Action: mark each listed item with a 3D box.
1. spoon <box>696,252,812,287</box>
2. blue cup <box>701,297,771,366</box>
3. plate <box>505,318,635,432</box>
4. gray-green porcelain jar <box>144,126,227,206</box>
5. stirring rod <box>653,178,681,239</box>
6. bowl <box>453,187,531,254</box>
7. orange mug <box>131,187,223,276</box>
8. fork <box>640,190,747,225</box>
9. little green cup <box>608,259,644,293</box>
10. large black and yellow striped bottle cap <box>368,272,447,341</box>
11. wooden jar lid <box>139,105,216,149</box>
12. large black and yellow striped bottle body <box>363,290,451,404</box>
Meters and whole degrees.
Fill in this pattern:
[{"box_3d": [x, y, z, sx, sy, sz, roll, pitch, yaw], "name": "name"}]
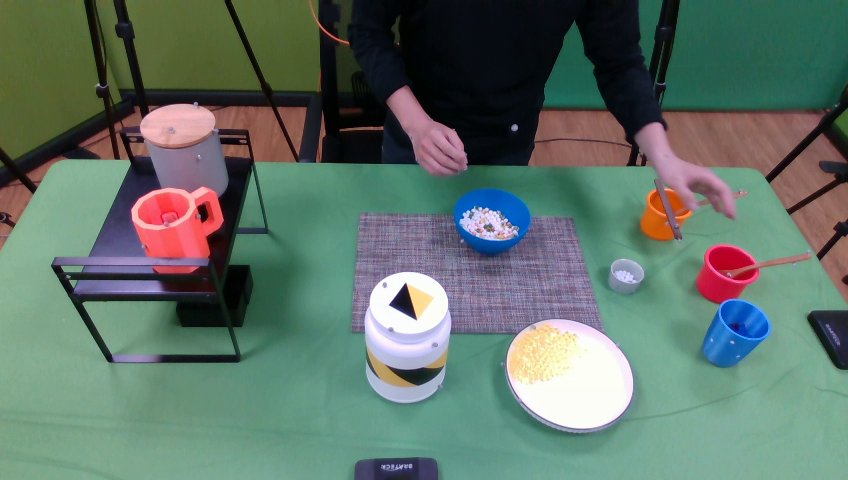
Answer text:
[{"box_3d": [0.600, 0.051, 1.110, 0.193, 0.022, 0.041, -22, 33, 38], "name": "spoon"}, {"box_3d": [0.519, 0.162, 1.025, 0.093, 0.101, 0.092, 3, 45, -3], "name": "blue cup"}, {"box_3d": [0.235, 0.221, 0.991, 0.209, 0.038, 0.208, 2, 46, -2], "name": "plate"}, {"box_3d": [-0.375, -0.126, 0.967, 0.106, 0.127, 0.105, 2, 46, -2], "name": "gray-green porcelain jar"}, {"box_3d": [0.482, -0.065, 1.204, 0.014, 0.006, 0.175, 1, 46, 0], "name": "stirring rod"}, {"box_3d": [0.128, -0.026, 1.186, 0.151, 0.077, 0.150, 2, 46, -2], "name": "bowl"}, {"box_3d": [-0.354, -0.022, 0.888, 0.083, 0.101, 0.126, 31, 55, 24], "name": "orange mug"}, {"box_3d": [0.533, -0.064, 1.211, 0.207, 0.019, 0.028, -22, 27, 39], "name": "fork"}, {"box_3d": [0.379, 0.070, 1.147, 0.061, 0.039, 0.061, 3, 45, -3], "name": "little green cup"}, {"box_3d": [-0.023, 0.093, 0.875, 0.115, 0.019, 0.114, 3, 46, -3], "name": "large black and yellow striped bottle cap"}, {"box_3d": [-0.372, -0.169, 0.920, 0.108, 0.021, 0.107, 4, 44, -4], "name": "wooden jar lid"}, {"box_3d": [-0.027, 0.153, 0.935, 0.131, 0.185, 0.130, 2, 46, -2], "name": "large black and yellow striped bottle body"}]
